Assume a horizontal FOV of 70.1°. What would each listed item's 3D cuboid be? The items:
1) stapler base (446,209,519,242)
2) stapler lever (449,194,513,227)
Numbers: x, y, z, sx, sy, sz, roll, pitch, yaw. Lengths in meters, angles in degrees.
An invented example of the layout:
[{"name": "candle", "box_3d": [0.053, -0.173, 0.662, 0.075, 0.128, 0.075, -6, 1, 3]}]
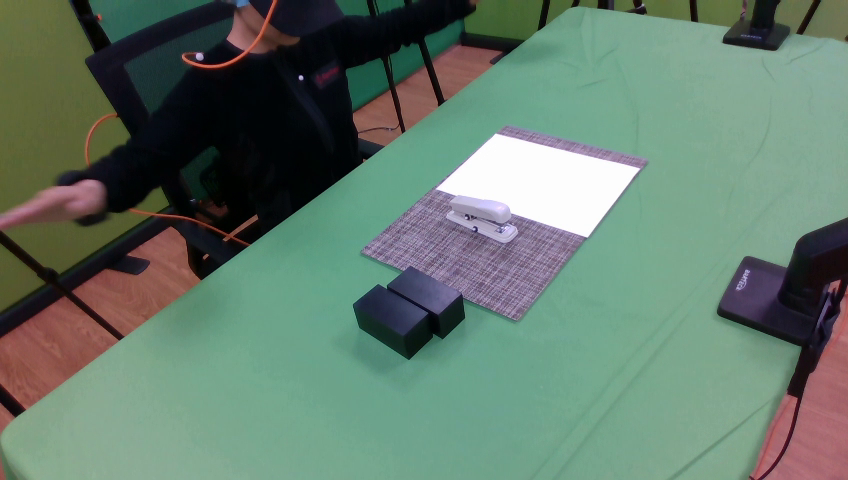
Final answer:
[{"name": "stapler base", "box_3d": [0.096, -0.035, 1.000, 0.129, 0.024, 0.041, 24, 48, 35]}, {"name": "stapler lever", "box_3d": [0.092, -0.054, 0.985, 0.117, 0.040, 0.027, 25, 48, 35]}]
